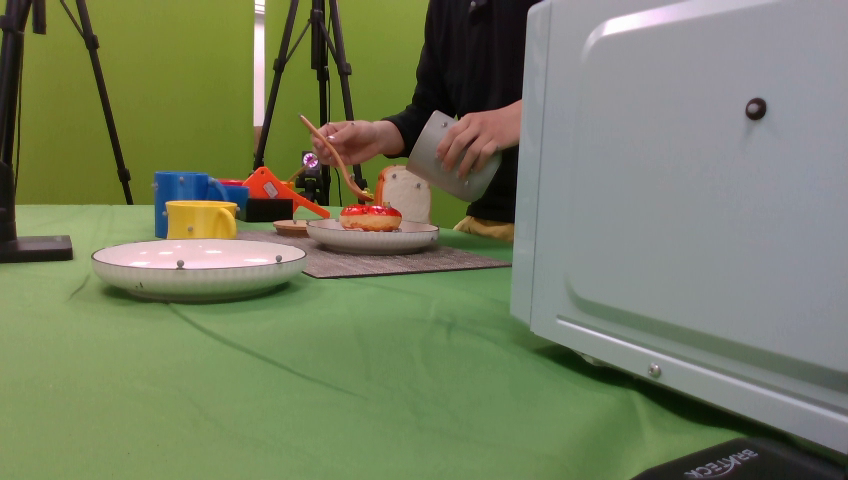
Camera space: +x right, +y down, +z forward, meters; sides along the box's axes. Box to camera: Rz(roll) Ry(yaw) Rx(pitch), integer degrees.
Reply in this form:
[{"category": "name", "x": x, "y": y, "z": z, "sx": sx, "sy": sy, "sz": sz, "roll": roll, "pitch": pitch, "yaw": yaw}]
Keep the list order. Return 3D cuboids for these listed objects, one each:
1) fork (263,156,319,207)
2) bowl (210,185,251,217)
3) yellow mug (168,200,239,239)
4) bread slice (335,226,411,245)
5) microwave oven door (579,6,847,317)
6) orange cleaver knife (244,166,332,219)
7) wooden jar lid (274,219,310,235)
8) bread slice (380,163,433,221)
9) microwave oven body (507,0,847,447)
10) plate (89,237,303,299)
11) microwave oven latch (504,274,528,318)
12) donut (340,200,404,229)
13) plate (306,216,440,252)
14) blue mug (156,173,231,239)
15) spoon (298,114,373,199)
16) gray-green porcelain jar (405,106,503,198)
[{"category": "fork", "x": -0.331, "y": -0.144, "z": 1.505, "sx": 0.207, "sy": 0.018, "sz": 0.028, "roll": -42, "pitch": -21, "yaw": 22}, {"category": "bowl", "x": -0.408, "y": -0.064, "z": 1.155, "sx": 0.151, "sy": 0.077, "sz": 0.151, "roll": 2, "pitch": 8, "yaw": 0}, {"category": "yellow mug", "x": -0.320, "y": -0.023, "z": 0.904, "sx": 0.130, "sy": 0.064, "sz": 0.100, "roll": 9, "pitch": 11, "yaw": 36}, {"category": "bread slice", "x": -0.074, "y": -0.008, "z": 0.937, "sx": 0.105, "sy": 0.019, "sz": 0.131, "roll": -1, "pitch": 7, "yaw": -19}, {"category": "microwave oven door", "x": 0.294, "y": -0.067, "z": 0.570, "sx": 0.358, "sy": 0.243, "sz": 0.039, "roll": -3, "pitch": 9, "yaw": -31}, {"category": "orange cleaver knife", "x": -0.301, "y": -0.089, "z": 1.351, "sx": 0.212, "sy": 0.077, "sz": 0.012, "roll": 32, "pitch": -11, "yaw": -34}, {"category": "wooden jar lid", "x": -0.213, "y": -0.023, "z": 1.080, "sx": 0.108, "sy": 0.020, "sz": 0.108, "roll": 3, "pitch": 7, "yaw": 0}, {"category": "bread slice", "x": -0.035, "y": -0.076, "z": 1.126, "sx": 0.107, "sy": 0.134, "sz": 0.018, "roll": -4, "pitch": 3, "yaw": -24}, {"category": "microwave oven body", "x": 0.331, "y": -0.042, "z": 0.425, "sx": 0.444, "sy": 0.260, "sz": 0.324, "roll": -2, "pitch": 8, "yaw": -31}, {"category": "plate", "x": -0.233, "y": 0.029, "z": 0.637, "sx": 0.208, "sy": 0.039, "sz": 0.207, "roll": 2, "pitch": 7, "yaw": 0}, {"category": "microwave oven latch", "x": 0.100, "y": 0.041, "z": 0.471, "sx": 0.079, "sy": 0.029, "sz": 0.030, "roll": -1, "pitch": 8, "yaw": -28}, {"category": "donut", "x": -0.081, "y": -0.038, "z": 0.944, "sx": 0.099, "sy": 0.048, "sz": 0.099, "roll": 1, "pitch": 5, "yaw": 0}, {"category": "plate", "x": -0.079, "y": -0.011, "z": 0.950, "sx": 0.209, "sy": 0.038, "sz": 0.209, "roll": 2, "pitch": 8, "yaw": 0}, {"category": "blue mug", "x": -0.381, "y": -0.057, "z": 1.004, "sx": 0.117, "sy": 0.106, "sz": 0.082, "roll": 0, "pitch": 8, "yaw": -12}, {"category": "spoon", "x": -0.144, "y": -0.135, "z": 0.972, "sx": 0.021, "sy": 0.193, "sz": 0.042, "roll": -39, "pitch": -14, "yaw": 12}, {"category": "gray-green porcelain jar", "x": 0.050, "y": -0.132, "z": 0.937, "sx": 0.126, "sy": 0.105, "sz": 0.106, "roll": 27, "pitch": 9, "yaw": 1}]
